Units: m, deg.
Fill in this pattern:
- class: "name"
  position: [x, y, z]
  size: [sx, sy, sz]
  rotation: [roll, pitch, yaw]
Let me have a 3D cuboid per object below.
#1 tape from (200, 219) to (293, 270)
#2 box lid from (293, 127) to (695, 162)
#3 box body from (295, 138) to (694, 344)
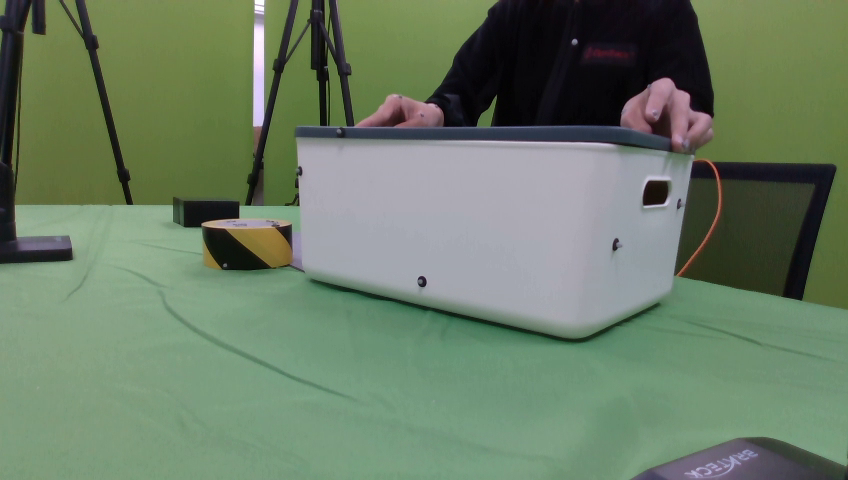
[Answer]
- class: "tape"
  position: [-0.228, 0.004, 0.778]
  size: [0.117, 0.052, 0.117]
  rotation: [1, 8, 0]
- class: "box lid"
  position: [0.070, -0.100, 0.647]
  size: [0.369, 0.015, 0.265]
  rotation: [8, 8, 35]
- class: "box body"
  position: [0.065, -0.020, 0.653]
  size: [0.362, 0.160, 0.255]
  rotation: [9, 9, 36]
